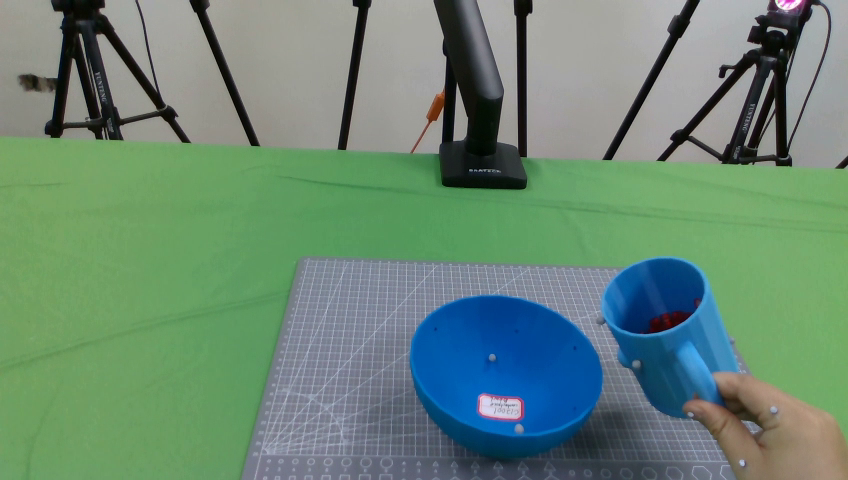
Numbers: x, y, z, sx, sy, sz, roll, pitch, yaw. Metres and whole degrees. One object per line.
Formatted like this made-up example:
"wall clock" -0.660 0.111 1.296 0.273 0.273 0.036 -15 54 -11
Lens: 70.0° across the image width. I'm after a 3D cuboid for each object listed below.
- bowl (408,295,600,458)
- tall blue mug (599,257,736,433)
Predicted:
"bowl" 0.059 0.122 0.492 0.151 0.077 0.150 3 35 -2
"tall blue mug" 0.197 0.082 0.457 0.078 0.109 0.106 -42 33 -11
